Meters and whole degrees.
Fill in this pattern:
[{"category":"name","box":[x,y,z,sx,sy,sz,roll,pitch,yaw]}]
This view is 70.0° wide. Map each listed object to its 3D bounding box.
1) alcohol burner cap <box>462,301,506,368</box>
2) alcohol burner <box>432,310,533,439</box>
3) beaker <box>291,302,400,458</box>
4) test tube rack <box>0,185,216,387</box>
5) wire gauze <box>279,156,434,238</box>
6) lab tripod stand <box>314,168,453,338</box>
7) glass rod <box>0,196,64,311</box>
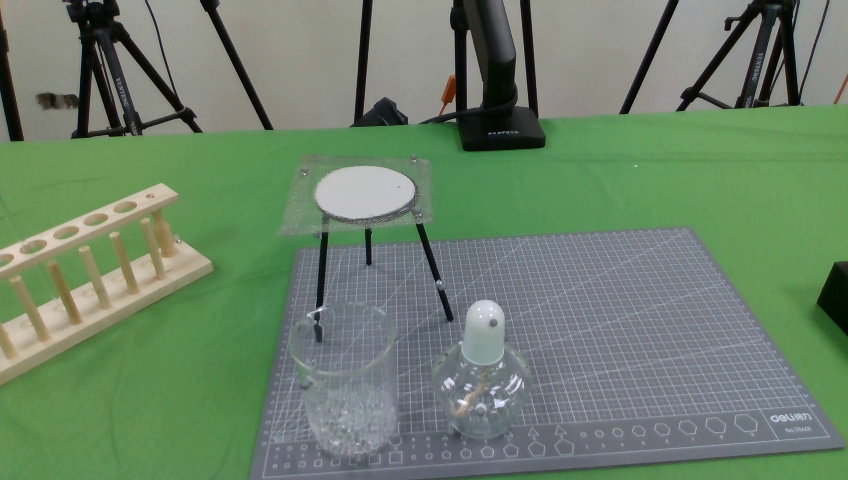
[{"category":"alcohol burner cap","box":[0.045,0.065,0.435,0.034,0.048,0.033,1,38,0]},{"category":"alcohol burner","box":[0.045,0.094,0.456,0.078,0.120,0.077,0,38,1]},{"category":"beaker","box":[-0.057,0.107,0.456,0.083,0.101,0.074,26,44,33]},{"category":"test tube rack","box":[-0.331,0.041,0.575,0.066,0.086,0.242,27,44,34]},{"category":"wire gauze","box":[-0.053,-0.041,0.517,0.121,0.011,0.124,-1,36,-1]},{"category":"lab tripod stand","box":[-0.043,0.011,0.559,0.148,0.132,0.147,0,35,0]},{"category":"glass rod","box":[-0.367,-0.014,0.539,0.008,0.201,0.008,-6,33,4]}]
